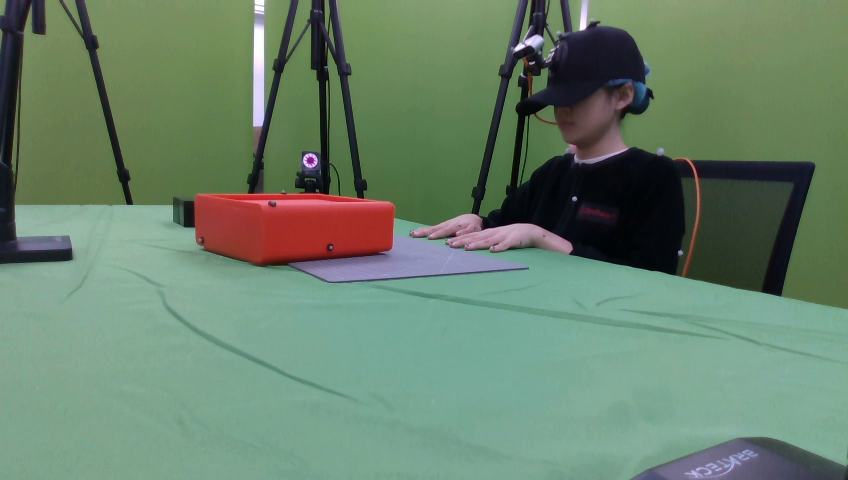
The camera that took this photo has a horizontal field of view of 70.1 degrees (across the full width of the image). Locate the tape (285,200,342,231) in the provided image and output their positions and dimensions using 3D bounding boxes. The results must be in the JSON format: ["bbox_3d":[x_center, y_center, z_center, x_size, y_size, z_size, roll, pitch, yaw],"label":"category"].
[{"bbox_3d":[-0.223,-0.051,1.221,0.117,0.052,0.117,3,7,0],"label":"tape"}]

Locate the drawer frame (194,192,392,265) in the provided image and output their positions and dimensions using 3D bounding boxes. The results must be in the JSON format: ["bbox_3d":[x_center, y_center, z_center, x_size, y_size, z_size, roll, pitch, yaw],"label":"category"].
[{"bbox_3d":[-0.190,-0.024,0.882,0.215,0.082,0.200,-5,11,-44],"label":"drawer frame"}]

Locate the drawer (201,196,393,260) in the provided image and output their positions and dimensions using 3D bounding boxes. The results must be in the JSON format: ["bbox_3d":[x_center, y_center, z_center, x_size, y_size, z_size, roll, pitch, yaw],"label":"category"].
[{"bbox_3d":[-0.186,-0.023,0.886,0.213,0.073,0.193,-5,12,-43],"label":"drawer"}]
